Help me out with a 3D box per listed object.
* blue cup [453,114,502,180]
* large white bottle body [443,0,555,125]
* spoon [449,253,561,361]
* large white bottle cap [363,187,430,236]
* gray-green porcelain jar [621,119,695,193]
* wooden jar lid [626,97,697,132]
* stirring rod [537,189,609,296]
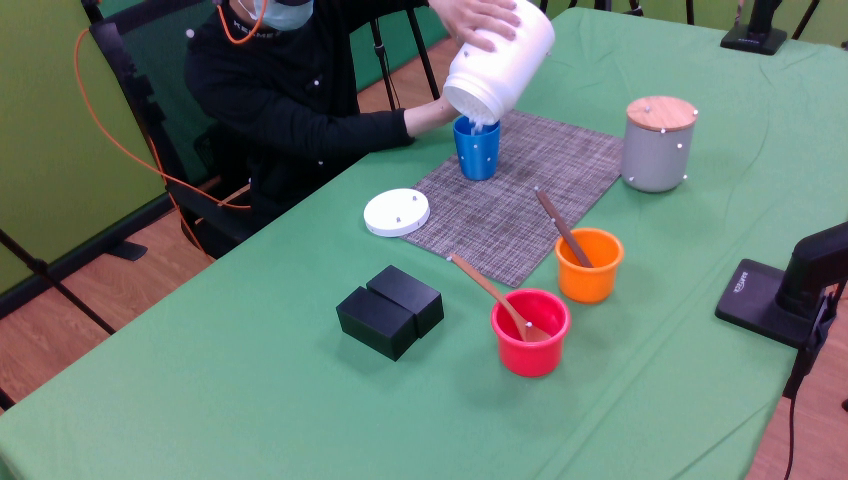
[{"bbox_3d":[0.097,-0.166,1.088,0.092,0.100,0.092,-3,40,3],"label":"blue cup"},{"bbox_3d":[0.125,-0.303,1.040,0.129,0.131,0.184,28,81,34],"label":"large white bottle body"},{"bbox_3d":[0.103,0.083,0.770,0.194,0.021,0.042,47,51,-7],"label":"spoon"},{"bbox_3d":[-0.048,-0.050,1.040,0.115,0.018,0.114,-7,41,7],"label":"large white bottle cap"},{"bbox_3d":[0.389,-0.152,1.016,0.106,0.127,0.105,-4,40,4],"label":"gray-green porcelain jar"},{"bbox_3d":[0.382,-0.198,0.976,0.108,0.021,0.108,-2,40,3],"label":"wooden jar lid"},{"bbox_3d":[0.211,0.003,0.855,0.014,0.006,0.176,-32,88,-30],"label":"stirring rod"}]
